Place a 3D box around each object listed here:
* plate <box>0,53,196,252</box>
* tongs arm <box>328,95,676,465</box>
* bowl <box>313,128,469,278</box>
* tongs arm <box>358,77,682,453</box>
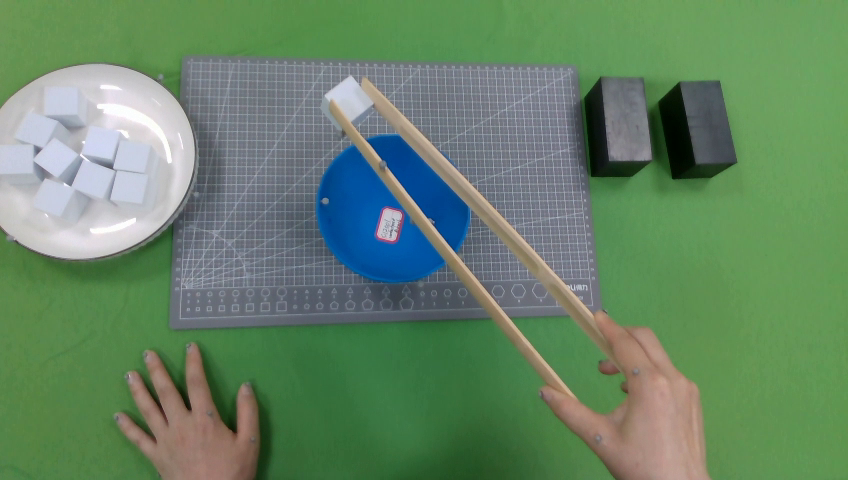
[{"bbox_3d":[-0.335,-0.086,0.612,0.208,0.039,0.206,1,78,-6],"label":"plate"},{"bbox_3d":[0.053,0.024,0.482,0.051,0.026,0.383,-33,80,-21],"label":"tongs arm"},{"bbox_3d":[-0.035,-0.029,0.617,0.152,0.077,0.150,2,77,-7],"label":"bowl"},{"bbox_3d":[0.070,0.011,0.490,0.028,0.028,0.386,-38,82,-26],"label":"tongs arm"}]
